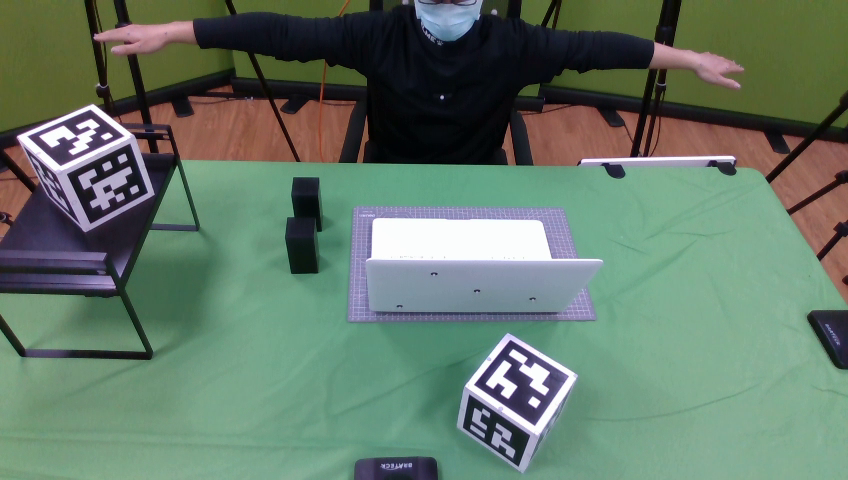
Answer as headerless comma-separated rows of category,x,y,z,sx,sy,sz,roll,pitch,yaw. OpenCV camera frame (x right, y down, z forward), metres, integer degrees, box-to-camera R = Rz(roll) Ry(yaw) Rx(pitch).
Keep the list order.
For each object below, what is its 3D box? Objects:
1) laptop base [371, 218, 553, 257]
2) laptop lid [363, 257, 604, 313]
laptop base,0.074,0.044,1.159,0.354,0.023,0.234,0,43,-3
laptop lid,0.084,0.076,0.972,0.357,0.242,0.013,1,64,-5
